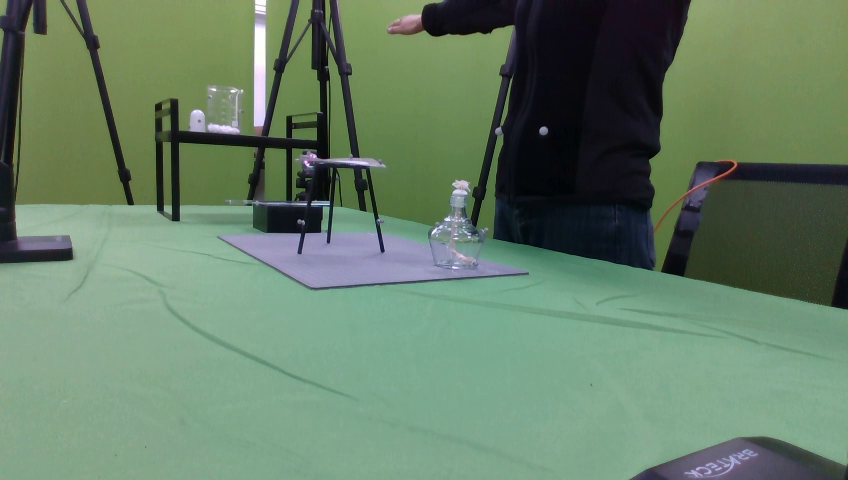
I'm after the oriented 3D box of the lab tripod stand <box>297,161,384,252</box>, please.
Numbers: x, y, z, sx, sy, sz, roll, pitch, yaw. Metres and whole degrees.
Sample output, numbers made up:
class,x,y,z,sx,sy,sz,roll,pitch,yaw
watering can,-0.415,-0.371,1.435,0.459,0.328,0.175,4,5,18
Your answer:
class,x,y,z,sx,sy,sz,roll,pitch,yaw
lab tripod stand,-0.130,-0.051,0.903,0.148,0.131,0.148,3,9,0

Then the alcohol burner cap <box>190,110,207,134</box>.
class,x,y,z,sx,sy,sz,roll,pitch,yaw
alcohol burner cap,-0.464,-0.242,1.241,0.034,0.048,0.034,1,7,0

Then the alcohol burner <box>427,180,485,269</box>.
class,x,y,z,sx,sy,sz,roll,pitch,yaw
alcohol burner,0.044,-0.021,0.807,0.078,0.119,0.078,4,6,0

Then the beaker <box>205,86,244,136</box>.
class,x,y,z,sx,sy,sz,roll,pitch,yaw
beaker,-0.430,-0.278,1.310,0.084,0.100,0.074,5,8,13

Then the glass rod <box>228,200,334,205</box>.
class,x,y,z,sx,sy,sz,roll,pitch,yaw
glass rod,-0.268,-0.071,1.148,0.201,0.008,0.008,-1,8,-28

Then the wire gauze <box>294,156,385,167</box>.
class,x,y,z,sx,sy,sz,roll,pitch,yaw
wire gauze,-0.128,-0.118,0.901,0.125,0.011,0.121,0,8,-14
